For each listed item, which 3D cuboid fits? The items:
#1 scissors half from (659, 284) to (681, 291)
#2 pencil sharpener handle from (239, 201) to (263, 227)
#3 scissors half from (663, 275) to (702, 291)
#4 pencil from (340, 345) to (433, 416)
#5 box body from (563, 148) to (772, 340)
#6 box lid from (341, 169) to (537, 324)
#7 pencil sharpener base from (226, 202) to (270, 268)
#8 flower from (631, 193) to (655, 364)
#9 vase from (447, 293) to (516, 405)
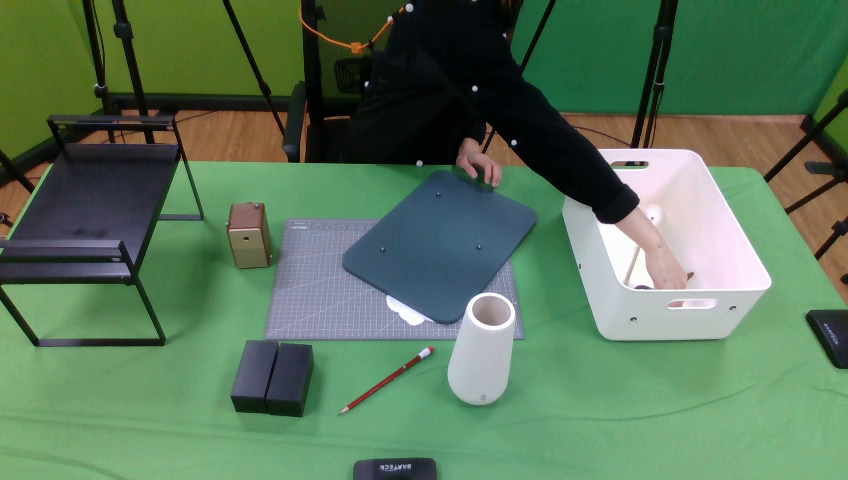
[{"bbox_3d":[0.453,0.095,1.144,0.175,0.040,0.013,-16,92,-33],"label":"scissors half"},{"bbox_3d":[-0.324,-0.055,1.149,0.036,0.068,0.030,-13,46,4],"label":"pencil sharpener handle"},{"bbox_3d":[0.460,0.092,1.132,0.175,0.040,0.013,-18,86,-26],"label":"scissors half"},{"bbox_3d":[-0.058,0.227,0.984,0.194,0.012,0.012,-32,56,-28],"label":"pencil"},{"bbox_3d":[0.421,0.003,1.130,0.254,0.161,0.361,0,46,-5],"label":"box body"},{"bbox_3d":[0.038,-0.004,1.210,0.262,0.015,0.371,27,49,21],"label":"box lid"},{"bbox_3d":[-0.323,-0.010,1.123,0.061,0.107,0.076,-3,46,-7],"label":"pencil sharpener base"},{"bbox_3d":[0.422,0.068,1.187,0.038,0.044,0.360,21,65,-17],"label":"flower"},{"bbox_3d":[0.091,0.169,0.921,0.098,0.201,0.097,3,47,-3],"label":"vase"}]
